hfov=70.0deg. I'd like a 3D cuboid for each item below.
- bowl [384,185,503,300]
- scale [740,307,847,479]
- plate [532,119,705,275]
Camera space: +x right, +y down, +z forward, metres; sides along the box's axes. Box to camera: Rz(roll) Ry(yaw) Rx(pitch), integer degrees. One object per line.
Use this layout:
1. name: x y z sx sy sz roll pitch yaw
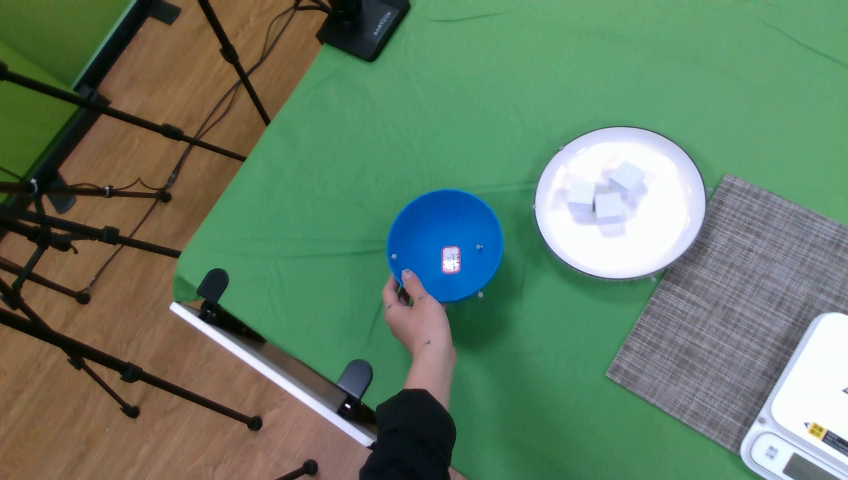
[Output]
1. bowl: 0.031 0.012 0.789 0.151 0.077 0.150 -3 72 11
2. scale: 0.454 0.186 0.649 0.147 0.032 0.200 31 84 21
3. plate: 0.246 -0.053 0.778 0.207 0.039 0.206 -4 73 14
